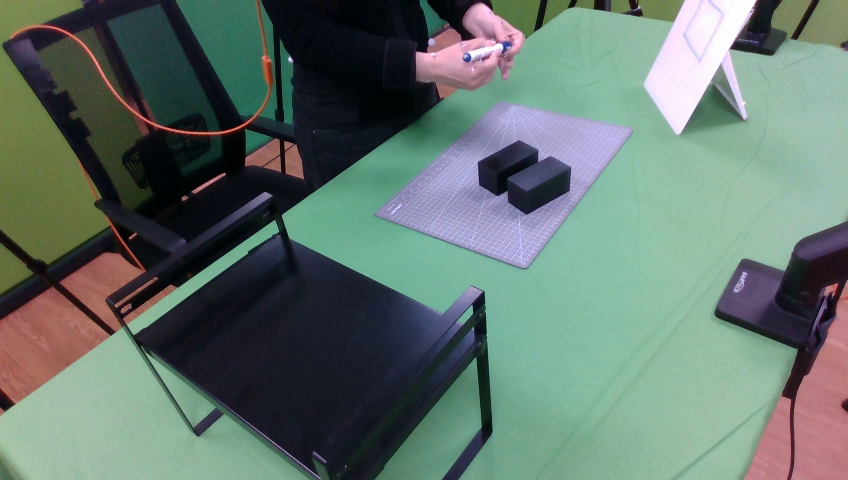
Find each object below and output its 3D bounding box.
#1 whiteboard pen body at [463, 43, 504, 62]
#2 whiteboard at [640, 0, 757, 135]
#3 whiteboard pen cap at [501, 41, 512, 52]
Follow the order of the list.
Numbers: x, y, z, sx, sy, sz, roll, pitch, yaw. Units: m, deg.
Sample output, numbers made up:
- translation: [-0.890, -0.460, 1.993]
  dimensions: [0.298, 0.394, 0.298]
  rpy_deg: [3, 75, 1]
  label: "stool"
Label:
- translation: [0.108, -0.322, 1.032]
  dimensions: [0.017, 0.017, 0.141]
  rpy_deg: [21, 33, 29]
  label: "whiteboard pen body"
- translation: [0.576, -0.366, 1.147]
  dimensions: [0.144, 0.305, 0.216]
  rpy_deg: [10, 39, -10]
  label: "whiteboard"
- translation: [0.142, -0.344, 1.078]
  dimensions: [0.018, 0.018, 0.033]
  rpy_deg: [21, 36, 29]
  label: "whiteboard pen cap"
